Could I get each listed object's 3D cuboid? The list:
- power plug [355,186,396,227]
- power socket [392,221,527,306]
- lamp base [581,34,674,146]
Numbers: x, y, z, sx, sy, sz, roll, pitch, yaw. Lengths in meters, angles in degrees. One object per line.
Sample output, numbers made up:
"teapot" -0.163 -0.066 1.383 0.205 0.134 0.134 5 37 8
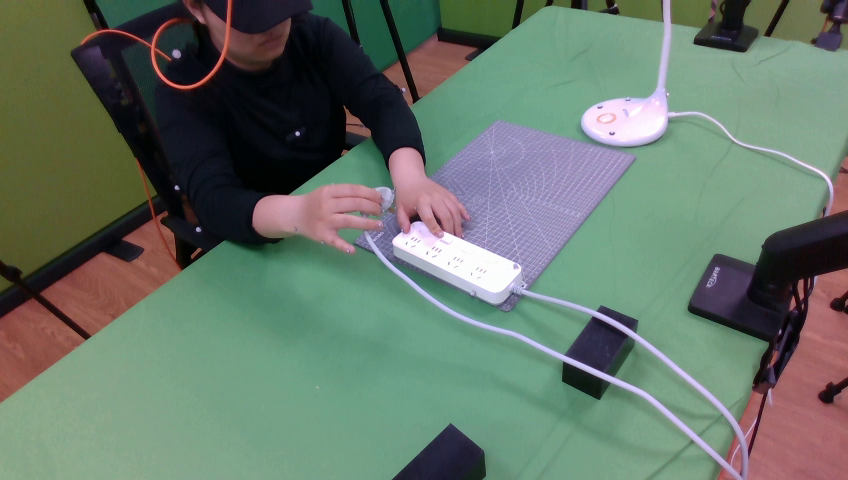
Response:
"power plug" -0.069 -0.043 0.851 0.035 0.053 0.072 30 85 48
"power socket" 0.046 0.031 0.913 0.225 0.033 0.072 25 51 32
"lamp base" 0.392 -0.291 1.129 0.180 0.181 0.159 -11 41 -8
